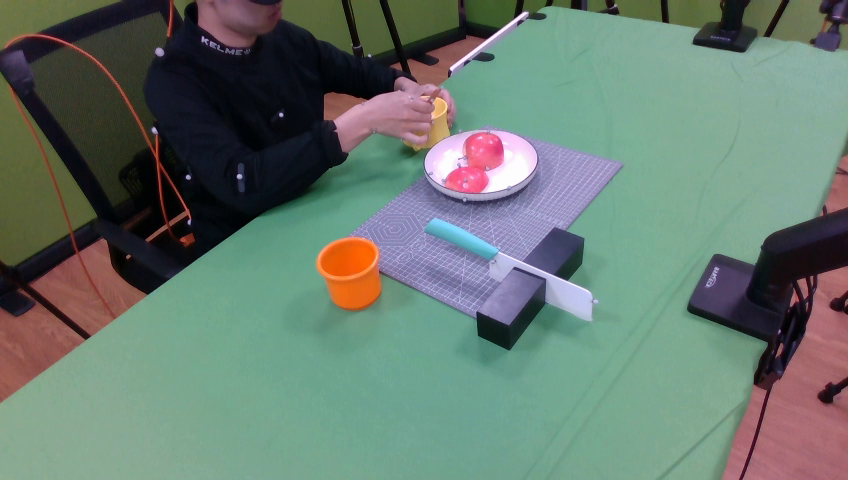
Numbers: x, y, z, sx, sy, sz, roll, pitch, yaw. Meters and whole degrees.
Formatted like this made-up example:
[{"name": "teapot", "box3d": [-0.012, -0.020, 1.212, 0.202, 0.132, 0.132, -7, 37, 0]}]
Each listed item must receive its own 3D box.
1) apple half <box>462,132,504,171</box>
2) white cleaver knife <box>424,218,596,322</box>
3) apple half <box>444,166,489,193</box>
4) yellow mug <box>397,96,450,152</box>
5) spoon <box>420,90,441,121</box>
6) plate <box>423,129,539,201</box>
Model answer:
[{"name": "apple half", "box3d": [0.109, -0.170, 1.110, 0.075, 0.053, 0.080, -6, 40, -2]}, {"name": "white cleaver knife", "box3d": [0.114, 0.042, 0.865, 0.284, 0.066, 0.021, 27, 47, 28]}, {"name": "apple half", "box3d": [0.074, -0.112, 1.062, 0.081, 0.033, 0.081, -6, 39, 5]}, {"name": "yellow mug", "box3d": [-0.004, -0.226, 1.200, 0.099, 0.064, 0.130, 5, 44, 16]}, {"name": "spoon", "box3d": [0.007, -0.247, 1.153, 0.042, 0.193, 0.021, -23, 83, -12]}, {"name": "plate", "box3d": [0.103, -0.132, 1.092, 0.209, 0.038, 0.208, -4, 40, 4]}]
